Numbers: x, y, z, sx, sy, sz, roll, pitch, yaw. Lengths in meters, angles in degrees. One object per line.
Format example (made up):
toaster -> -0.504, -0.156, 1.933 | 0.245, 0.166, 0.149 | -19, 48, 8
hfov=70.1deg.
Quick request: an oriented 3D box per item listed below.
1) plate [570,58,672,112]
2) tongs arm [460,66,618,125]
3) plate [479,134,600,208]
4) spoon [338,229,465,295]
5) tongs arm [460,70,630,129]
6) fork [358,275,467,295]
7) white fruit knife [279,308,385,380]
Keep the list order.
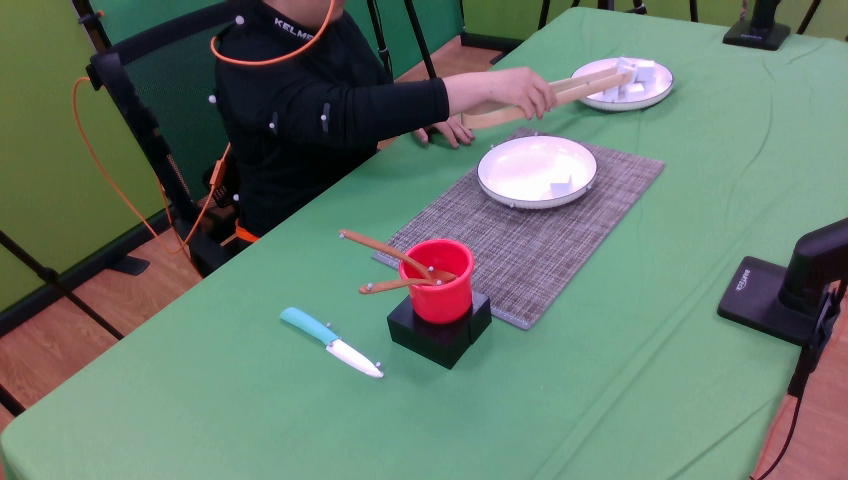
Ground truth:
plate -> 0.411, -0.323, 1.274 | 0.209, 0.038, 0.208 | -5, 41, 5
tongs arm -> 0.230, -0.286, 1.178 | 0.389, 0.028, 0.028 | -20, 42, -21
plate -> 0.202, -0.117, 1.065 | 0.207, 0.039, 0.206 | -5, 40, 5
spoon -> -0.025, 0.026, 0.776 | 0.021, 0.195, 0.041 | -41, 34, 31
tongs arm -> 0.241, -0.275, 1.160 | 0.387, 0.026, 0.050 | -22, 40, -24
fork -> -0.009, 0.056, 0.739 | 0.028, 0.018, 0.209 | 48, 23, 26
white fruit knife -> -0.130, 0.143, 0.845 | 0.205, 0.016, 0.027 | 25, 79, 32
